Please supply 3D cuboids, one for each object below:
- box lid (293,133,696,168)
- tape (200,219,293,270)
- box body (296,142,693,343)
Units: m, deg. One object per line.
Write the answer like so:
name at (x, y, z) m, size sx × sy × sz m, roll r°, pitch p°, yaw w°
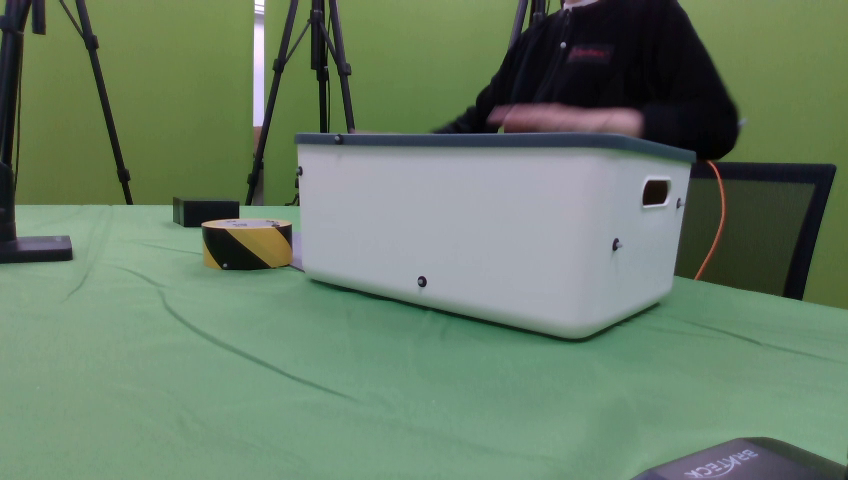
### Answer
box lid at (0.068, -0.094, 0.645) m, size 0.369 × 0.015 × 0.265 m, roll 9°, pitch 8°, yaw 37°
tape at (-0.228, 0.003, 0.778) m, size 0.117 × 0.052 × 0.117 m, roll 1°, pitch 8°, yaw 0°
box body at (0.065, -0.020, 0.653) m, size 0.362 × 0.160 × 0.255 m, roll 9°, pitch 9°, yaw 37°
